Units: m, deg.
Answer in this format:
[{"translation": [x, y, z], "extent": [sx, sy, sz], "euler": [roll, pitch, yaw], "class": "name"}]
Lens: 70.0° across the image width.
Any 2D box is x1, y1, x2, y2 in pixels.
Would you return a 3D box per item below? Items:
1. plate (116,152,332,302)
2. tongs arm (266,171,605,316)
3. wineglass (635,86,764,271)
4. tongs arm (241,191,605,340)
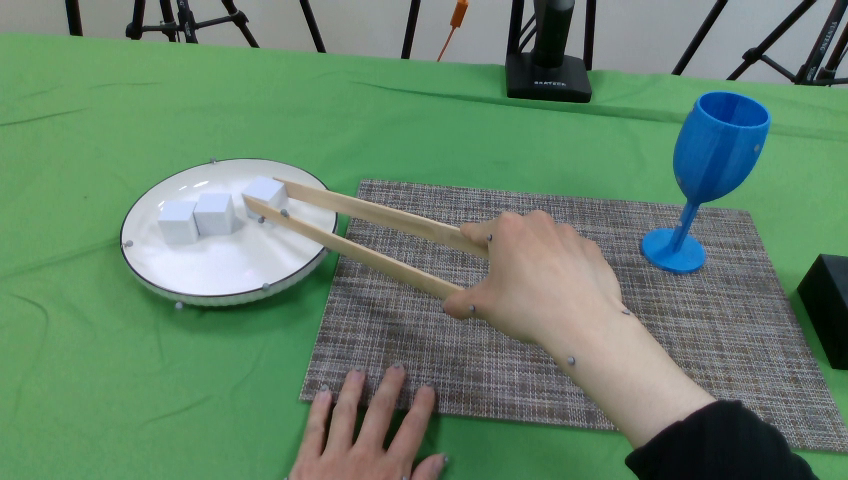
[{"translation": [-0.196, -0.014, 0.615], "extent": [0.209, 0.038, 0.207], "euler": [2, 44, -1], "class": "plate"}, {"translation": [-0.016, -0.012, 0.537], "extent": [0.384, 0.028, 0.028], "euler": [19, 48, 34], "class": "tongs arm"}, {"translation": [0.260, -0.056, 0.585], "extent": [0.074, 0.174, 0.073], "euler": [2, 44, -1], "class": "wineglass"}, {"translation": [-0.030, 0.004, 0.525], "extent": [0.381, 0.027, 0.050], "euler": [23, 54, 37], "class": "tongs arm"}]
